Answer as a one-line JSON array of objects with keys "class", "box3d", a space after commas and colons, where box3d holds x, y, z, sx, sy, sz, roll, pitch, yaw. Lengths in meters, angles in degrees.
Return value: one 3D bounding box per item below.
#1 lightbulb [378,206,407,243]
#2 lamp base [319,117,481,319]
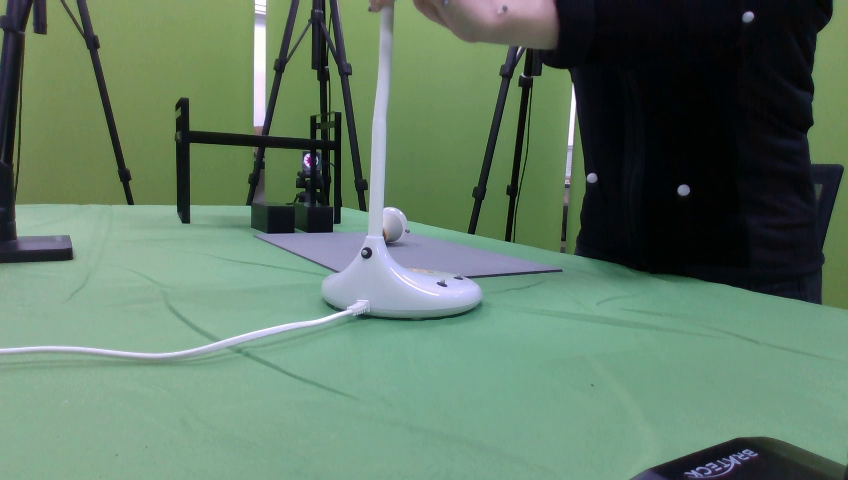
[{"class": "lightbulb", "box3d": [-0.067, -0.019, 1.000, 0.059, 0.059, 0.108, 5, 23, 20]}, {"class": "lamp base", "box3d": [-0.024, -0.025, 0.579, 0.160, 0.180, 0.179, 4, 10, 16]}]
